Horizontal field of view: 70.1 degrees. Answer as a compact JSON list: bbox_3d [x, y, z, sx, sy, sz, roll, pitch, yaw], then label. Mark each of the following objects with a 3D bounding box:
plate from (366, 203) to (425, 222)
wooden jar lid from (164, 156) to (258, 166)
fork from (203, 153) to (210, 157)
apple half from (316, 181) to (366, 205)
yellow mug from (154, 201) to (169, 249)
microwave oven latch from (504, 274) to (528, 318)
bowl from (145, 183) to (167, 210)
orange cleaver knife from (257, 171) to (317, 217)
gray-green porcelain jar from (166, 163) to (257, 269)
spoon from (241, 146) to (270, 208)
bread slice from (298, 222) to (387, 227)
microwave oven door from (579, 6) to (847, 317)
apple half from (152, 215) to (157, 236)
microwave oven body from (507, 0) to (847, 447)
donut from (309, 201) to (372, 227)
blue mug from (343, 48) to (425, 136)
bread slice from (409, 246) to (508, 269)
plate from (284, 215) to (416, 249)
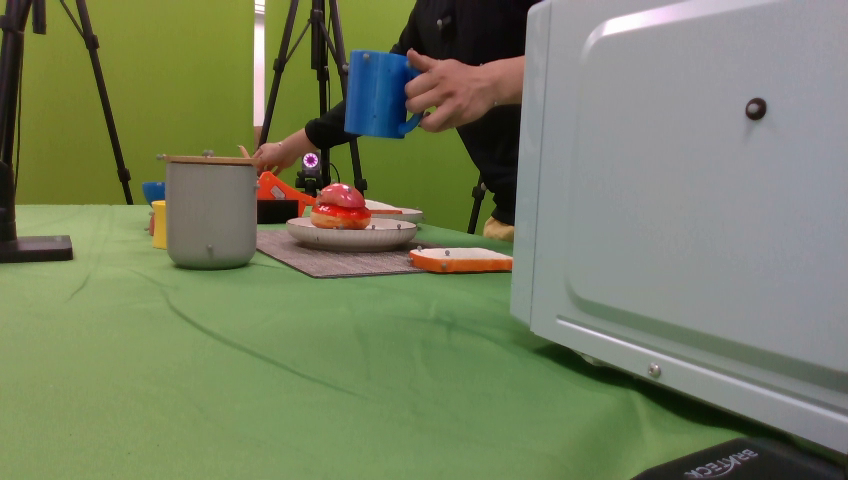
[{"bbox_3d":[-0.102,-0.053,1.299,0.209,0.038,0.209,2,8,0],"label":"plate"},{"bbox_3d":[-0.261,-0.093,0.746,0.108,0.020,0.108,1,9,0],"label":"wooden jar lid"},{"bbox_3d":[-0.480,-0.135,1.411,0.028,0.018,0.207,1,-34,0],"label":"fork"},{"bbox_3d":[-0.128,-0.076,0.954,0.081,0.033,0.081,7,12,-1],"label":"apple half"},{"bbox_3d":[-0.337,-0.022,0.899,0.130,0.064,0.100,8,9,34],"label":"yellow mug"},{"bbox_3d":[0.100,0.041,0.470,0.079,0.029,0.030,-1,7,-27],"label":"microwave oven latch"},{"bbox_3d":[-0.459,-0.068,1.175,0.151,0.077,0.151,3,7,0],"label":"bowl"},{"bbox_3d":[-0.283,-0.086,1.342,0.212,0.077,0.012,23,-15,-40],"label":"orange cleaver knife"},{"bbox_3d":[-0.263,-0.031,0.754,0.106,0.126,0.106,2,7,0],"label":"gray-green porcelain jar"},{"bbox_3d":[-0.419,-0.160,1.522,0.042,0.193,0.021,-11,-20,-44],"label":"spoon"},{"bbox_3d":[-0.120,-0.016,0.970,0.106,0.018,0.135,9,7,41],"label":"bread slice"},{"bbox_3d":[0.294,-0.067,0.570,0.358,0.243,0.039,-3,9,-31],"label":"microwave oven door"},{"bbox_3d":[-0.415,-0.034,1.017,0.081,0.053,0.074,1,10,-9],"label":"apple half"},{"bbox_3d":[0.331,-0.042,0.425,0.444,0.260,0.324,-2,8,-31],"label":"microwave oven body"},{"bbox_3d":[-0.132,-0.042,0.959,0.099,0.048,0.099,2,7,0],"label":"donut"},{"bbox_3d":[-0.049,-0.192,0.796,0.116,0.106,0.083,12,14,28],"label":"blue mug"},{"bbox_3d":[0.048,0.022,0.816,0.132,0.019,0.104,0,7,-24],"label":"bread slice"},{"bbox_3d":[-0.116,-0.014,0.967,0.208,0.039,0.207,2,7,0],"label":"plate"}]
